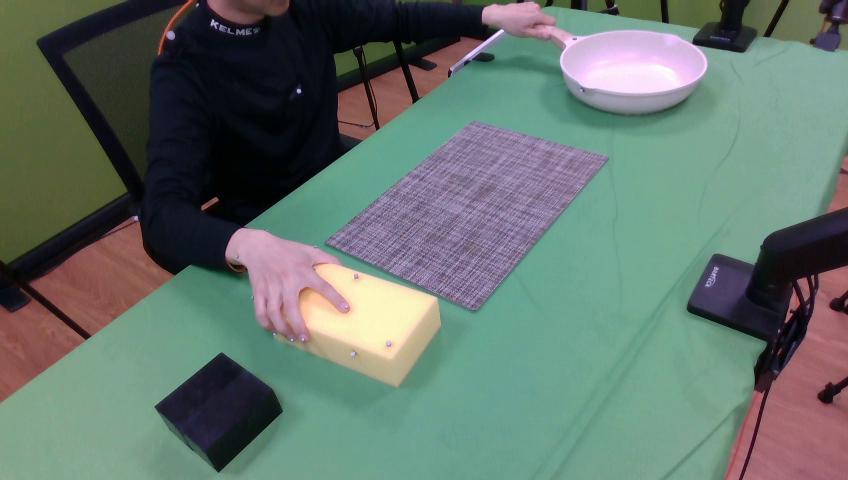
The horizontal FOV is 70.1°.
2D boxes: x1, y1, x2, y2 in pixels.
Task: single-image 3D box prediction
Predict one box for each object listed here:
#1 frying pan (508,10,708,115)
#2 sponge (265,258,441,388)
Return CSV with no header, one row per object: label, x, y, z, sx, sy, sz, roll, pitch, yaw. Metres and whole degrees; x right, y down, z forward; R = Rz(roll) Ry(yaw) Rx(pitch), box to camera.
frying pan,0.368,-0.410,1.325,0.308,0.103,0.484,-31,55,-27
sponge,-0.096,0.107,0.830,0.205,0.061,0.118,16,46,25
